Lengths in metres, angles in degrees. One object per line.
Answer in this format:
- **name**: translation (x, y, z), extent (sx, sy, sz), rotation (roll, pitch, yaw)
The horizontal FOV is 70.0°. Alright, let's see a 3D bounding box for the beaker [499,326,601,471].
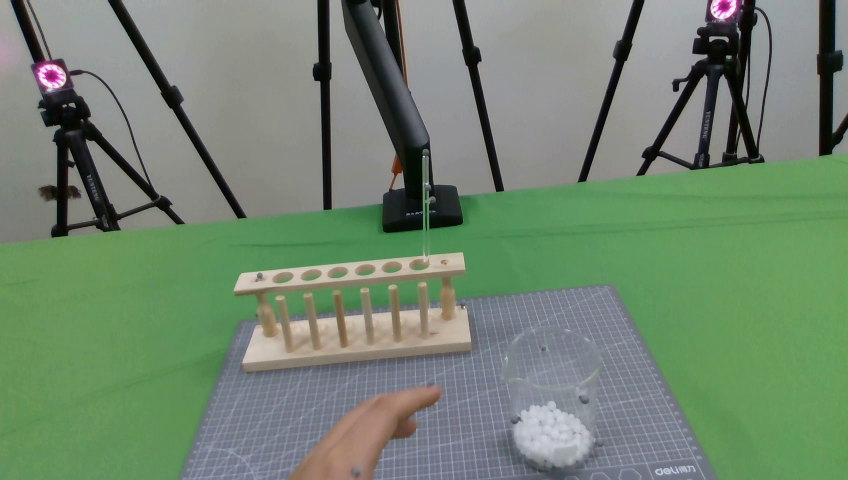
- **beaker**: translation (0.103, 0.135, 0.504), extent (0.084, 0.101, 0.073), rotation (-16, 31, -15)

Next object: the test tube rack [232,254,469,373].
- **test tube rack**: translation (-0.076, 0.078, 0.650), extent (0.242, 0.086, 0.066), rotation (-5, 30, 1)

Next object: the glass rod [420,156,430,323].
- **glass rod**: translation (0.002, 0.006, 0.626), extent (0.008, 0.201, 0.008), rotation (-1, 31, 1)
